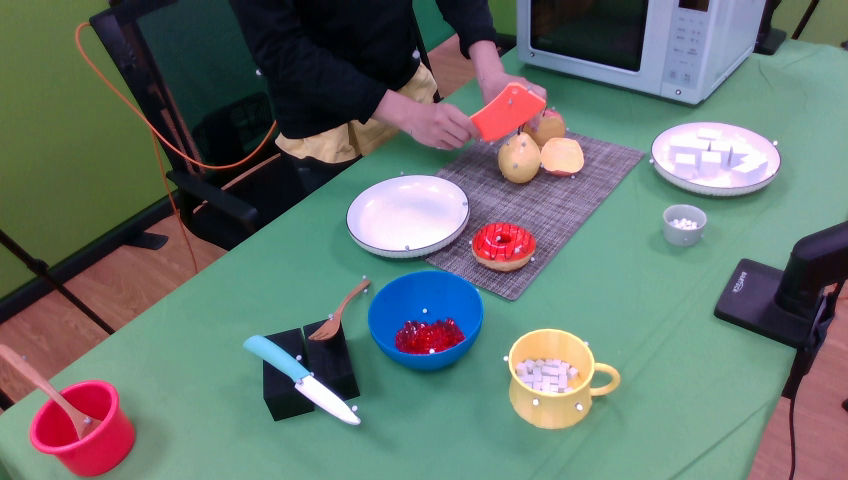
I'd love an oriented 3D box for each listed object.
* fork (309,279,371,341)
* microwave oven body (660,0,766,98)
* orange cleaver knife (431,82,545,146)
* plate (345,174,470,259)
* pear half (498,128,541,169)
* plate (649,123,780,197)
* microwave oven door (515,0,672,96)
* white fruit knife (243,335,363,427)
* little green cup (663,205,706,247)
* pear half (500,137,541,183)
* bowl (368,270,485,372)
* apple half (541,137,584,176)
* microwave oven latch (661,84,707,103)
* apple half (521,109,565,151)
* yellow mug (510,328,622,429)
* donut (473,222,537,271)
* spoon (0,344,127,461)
[{"bbox_3d":[-0.109,0.093,0.832,0.028,0.018,0.207,-4,19,15],"label":"fork"},{"bbox_3d":[0.472,-0.513,1.317,0.438,0.261,0.327,26,51,34],"label":"microwave oven body"},{"bbox_3d":[0.101,-0.191,0.992,0.210,0.078,0.012,-24,36,41],"label":"orange cleaver knife"},{"bbox_3d":[-0.026,-0.037,1.004,0.209,0.038,0.208,-4,40,4],"label":"plate"},{"bbox_3d":[0.168,-0.163,1.068,0.076,0.110,0.055,-3,41,-1],"label":"pear half"},{"bbox_3d":[0.497,-0.135,1.046,0.207,0.039,0.206,-4,40,4],"label":"plate"},{"bbox_3d":[0.343,-0.455,1.259,0.353,0.245,0.039,26,51,33],"label":"microwave oven door"},{"bbox_3d":[-0.148,0.167,0.729,0.206,0.016,0.027,27,80,31],"label":"white fruit knife"},{"bbox_3d":[0.396,-0.020,0.926,0.061,0.039,0.061,-4,40,4],"label":"little green cup"},{"bbox_3d":[0.169,-0.133,1.047,0.070,0.088,0.031,-3,40,-2],"label":"pear half"},{"bbox_3d":[0.007,0.118,0.791,0.151,0.077,0.150,-5,40,4],"label":"bowl"},{"bbox_3d":[0.248,-0.146,1.089,0.081,0.033,0.081,-2,65,4],"label":"apple half"},{"bbox_3d":[0.517,-0.296,1.204,0.078,0.029,0.030,27,52,35],"label":"microwave oven latch"},{"bbox_3d":[0.224,-0.212,1.145,0.080,0.075,0.053,-6,36,9],"label":"apple half"},{"bbox_3d":[0.168,0.164,0.721,0.130,0.064,0.099,0,40,8],"label":"yellow mug"},{"bbox_3d":[0.123,0.008,0.923,0.099,0.048,0.098,-3,38,3],"label":"donut"},{"bbox_3d":[-0.433,0.191,0.721,0.194,0.021,0.042,47,52,-6],"label":"spoon"}]
